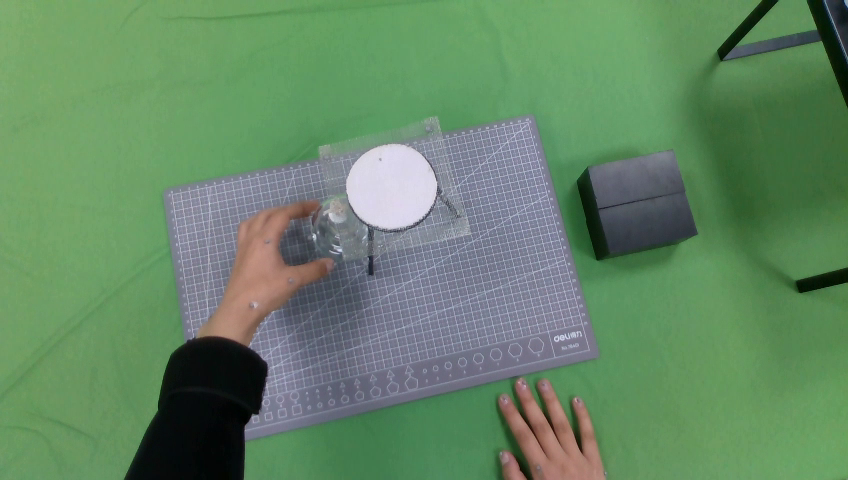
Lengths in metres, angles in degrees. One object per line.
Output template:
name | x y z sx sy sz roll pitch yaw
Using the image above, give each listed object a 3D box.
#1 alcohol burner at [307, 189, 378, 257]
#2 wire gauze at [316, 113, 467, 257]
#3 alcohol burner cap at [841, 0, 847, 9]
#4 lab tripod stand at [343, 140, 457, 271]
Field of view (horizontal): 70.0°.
alcohol burner | -0.089 -0.022 0.649 0.078 0.119 0.077 0 80 0
wire gauze | -0.033 -0.052 0.577 0.125 0.011 0.121 -13 79 -3
alcohol burner cap | 0.414 -0.236 0.558 0.034 0.048 0.033 0 81 0
lab tripod stand | -0.037 -0.044 0.644 0.148 0.132 0.147 0 79 1
